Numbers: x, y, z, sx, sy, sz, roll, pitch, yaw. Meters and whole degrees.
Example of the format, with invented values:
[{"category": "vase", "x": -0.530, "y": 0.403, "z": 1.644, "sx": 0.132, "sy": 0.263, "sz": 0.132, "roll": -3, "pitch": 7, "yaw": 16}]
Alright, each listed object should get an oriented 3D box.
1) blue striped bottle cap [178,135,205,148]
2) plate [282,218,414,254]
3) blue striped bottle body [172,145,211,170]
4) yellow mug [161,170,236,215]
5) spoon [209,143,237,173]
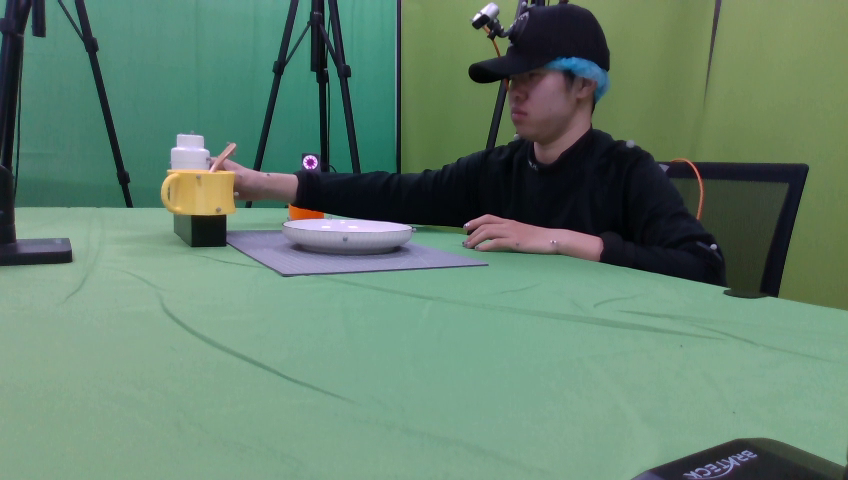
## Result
[{"category": "blue striped bottle cap", "x": -0.405, "y": -0.171, "z": 1.053, "sx": 0.044, "sy": 0.020, "sz": 0.044, "roll": 3, "pitch": 10, "yaw": 0}, {"category": "plate", "x": -0.121, "y": -0.007, "z": 0.971, "sx": 0.208, "sy": 0.039, "sz": 0.207, "roll": 2, "pitch": 7, "yaw": 0}, {"category": "blue striped bottle body", "x": -0.407, "y": -0.120, "z": 1.059, "sx": 0.063, "sy": 0.120, "sz": 0.063, "roll": 2, "pitch": 7, "yaw": 0}, {"category": "yellow mug", "x": -0.354, "y": -0.074, "z": 0.935, "sx": 0.099, "sy": 0.064, "sz": 0.131, "roll": 5, "pitch": 9, "yaw": 21}, {"category": "spoon", "x": -0.341, "y": -0.113, "z": 0.990, "sx": 0.041, "sy": 0.021, "sz": 0.193, "roll": 1, "pitch": 40, "yaw": 7}]
